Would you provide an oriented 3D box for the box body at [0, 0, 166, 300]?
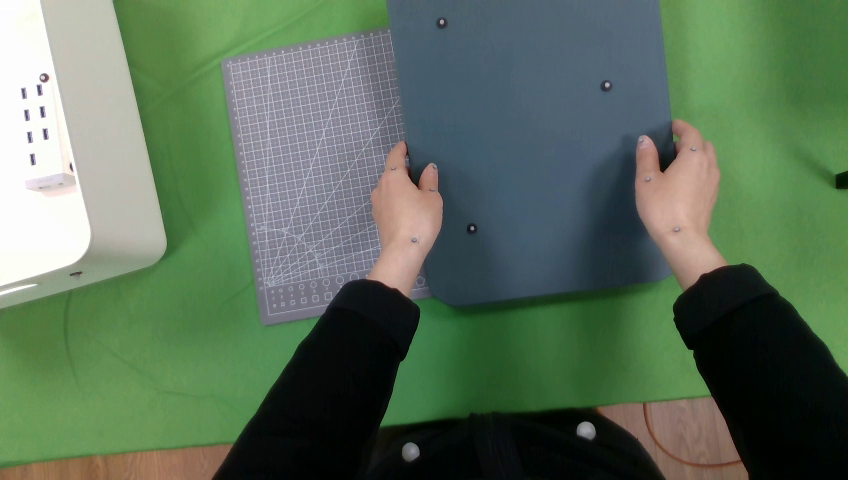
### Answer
[{"bbox_3d":[-0.439,-0.125,0.606,0.254,0.160,0.363,-15,86,3],"label":"box body"}]

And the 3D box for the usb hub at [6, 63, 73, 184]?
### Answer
[{"bbox_3d":[-0.421,-0.128,0.667,0.049,0.025,0.125,-11,87,1],"label":"usb hub"}]

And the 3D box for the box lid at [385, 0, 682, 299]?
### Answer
[{"bbox_3d":[0.108,-0.130,0.603,0.263,0.015,0.372,-8,95,4],"label":"box lid"}]
